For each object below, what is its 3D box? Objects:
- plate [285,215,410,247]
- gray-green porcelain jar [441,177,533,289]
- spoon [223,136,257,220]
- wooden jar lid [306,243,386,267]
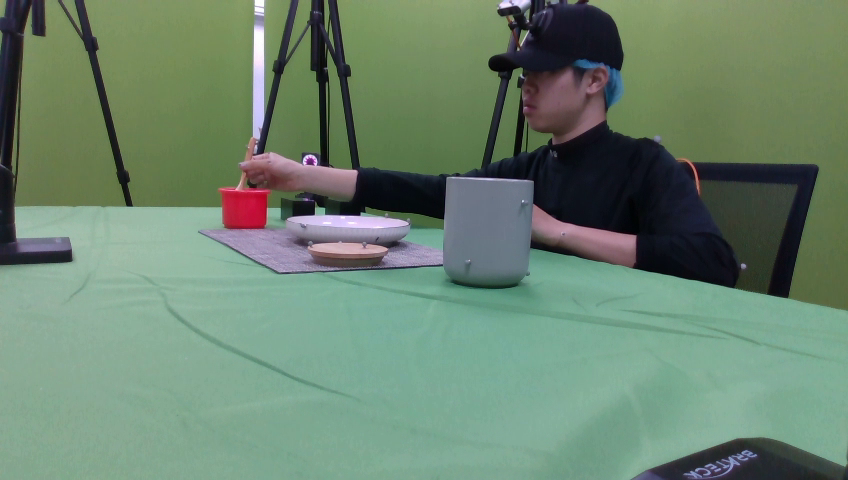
[{"bbox_3d":[-0.127,-0.015,1.012,0.208,0.039,0.207,3,7,0],"label":"plate"},{"bbox_3d":[0.075,-0.010,0.727,0.106,0.126,0.106,2,7,0],"label":"gray-green porcelain jar"},{"bbox_3d":[-0.364,-0.128,1.213,0.042,0.193,0.021,9,-30,-7],"label":"spoon"},{"bbox_3d":[-0.105,0.020,0.816,0.108,0.020,0.108,1,7,0],"label":"wooden jar lid"}]
